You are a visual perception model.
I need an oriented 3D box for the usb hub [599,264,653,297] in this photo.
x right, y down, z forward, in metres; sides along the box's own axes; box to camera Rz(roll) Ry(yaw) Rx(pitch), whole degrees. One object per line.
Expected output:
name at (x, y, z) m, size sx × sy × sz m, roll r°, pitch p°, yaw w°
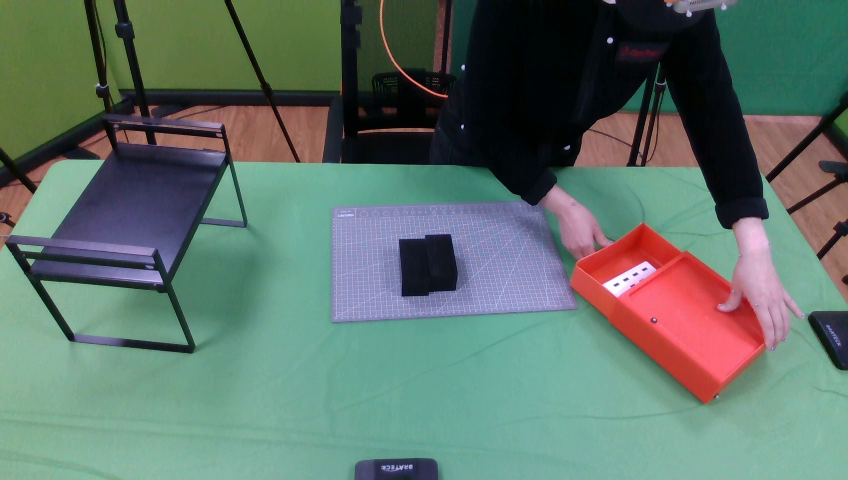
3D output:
usb hub at (0.386, 0.080, 1.126) m, size 0.125 × 0.025 × 0.049 m, roll -15°, pitch 38°, yaw -28°

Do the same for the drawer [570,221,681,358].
drawer at (0.412, 0.086, 1.108) m, size 0.194 × 0.073 × 0.210 m, roll -26°, pitch 55°, yaw -27°

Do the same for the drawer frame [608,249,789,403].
drawer frame at (0.470, 0.139, 1.051) m, size 0.202 × 0.083 × 0.212 m, roll -28°, pitch 55°, yaw -27°
